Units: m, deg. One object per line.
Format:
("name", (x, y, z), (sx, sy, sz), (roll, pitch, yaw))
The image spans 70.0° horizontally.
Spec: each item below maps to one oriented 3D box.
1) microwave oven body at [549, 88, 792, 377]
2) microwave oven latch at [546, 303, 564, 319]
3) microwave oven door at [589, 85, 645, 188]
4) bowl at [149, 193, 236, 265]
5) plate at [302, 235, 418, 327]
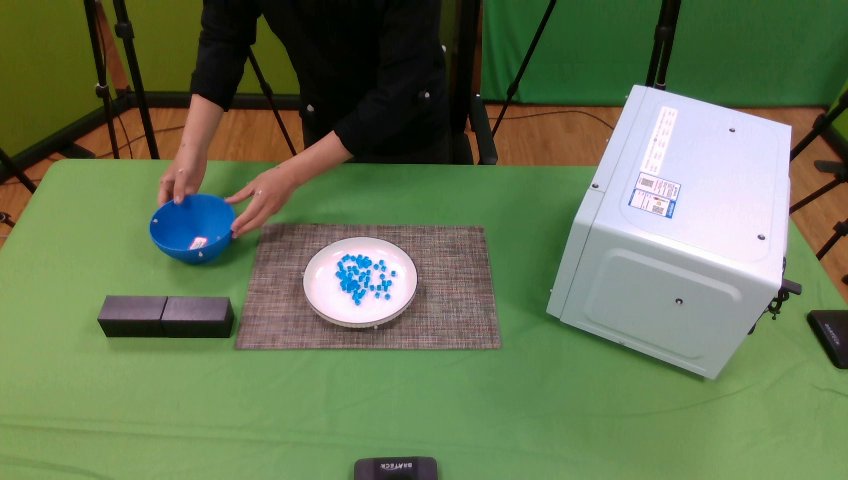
("microwave oven body", (0.456, -0.028, 1.088), (0.325, 0.261, 0.440), (20, 47, 16))
("microwave oven latch", (0.242, 0.102, 1.081), (0.030, 0.029, 0.079), (21, 48, 17))
("microwave oven door", (0.342, -0.107, 1.148), (0.039, 0.245, 0.354), (20, 48, 15))
("bowl", (-0.425, -0.009, 1.134), (0.151, 0.077, 0.150), (2, 47, -2))
("plate", (-0.114, 0.077, 1.098), (0.208, 0.039, 0.206), (2, 46, -2))
